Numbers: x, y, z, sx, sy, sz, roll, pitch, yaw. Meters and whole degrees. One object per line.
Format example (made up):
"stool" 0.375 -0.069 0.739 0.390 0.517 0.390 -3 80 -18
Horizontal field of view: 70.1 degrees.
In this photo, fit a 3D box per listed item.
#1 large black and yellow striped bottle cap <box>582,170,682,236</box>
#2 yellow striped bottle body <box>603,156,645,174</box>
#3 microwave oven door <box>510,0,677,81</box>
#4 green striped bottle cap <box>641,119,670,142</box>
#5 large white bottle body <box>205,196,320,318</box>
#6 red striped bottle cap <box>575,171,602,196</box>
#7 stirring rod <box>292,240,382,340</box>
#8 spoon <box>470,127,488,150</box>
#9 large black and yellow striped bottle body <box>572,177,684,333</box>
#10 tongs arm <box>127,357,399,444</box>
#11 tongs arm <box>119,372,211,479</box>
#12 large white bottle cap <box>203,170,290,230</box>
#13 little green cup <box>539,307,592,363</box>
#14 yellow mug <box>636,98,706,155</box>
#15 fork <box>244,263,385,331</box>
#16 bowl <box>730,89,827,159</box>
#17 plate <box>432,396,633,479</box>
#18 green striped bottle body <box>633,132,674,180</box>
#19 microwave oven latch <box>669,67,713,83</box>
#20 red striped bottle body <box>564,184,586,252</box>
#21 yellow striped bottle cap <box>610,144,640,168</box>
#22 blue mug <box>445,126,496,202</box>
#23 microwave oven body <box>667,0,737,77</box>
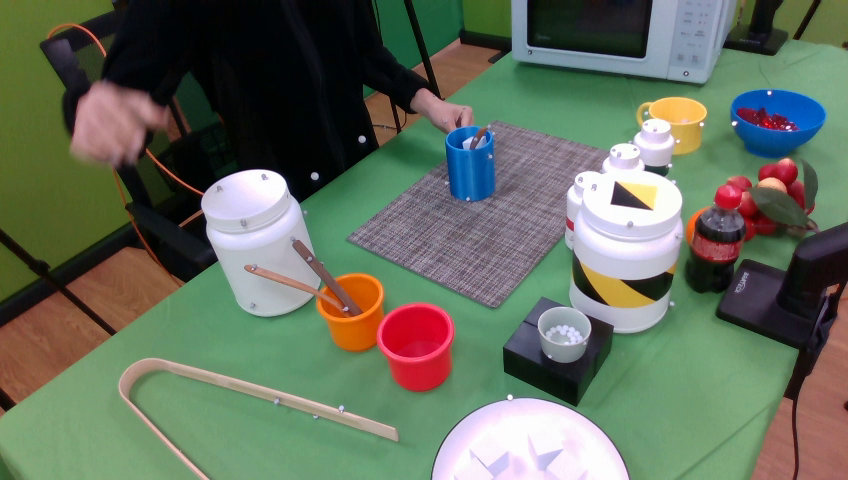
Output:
"large black and yellow striped bottle cap" 0.252 -0.048 0.735 0.115 0.019 0.114 -3 40 3
"yellow striped bottle body" 0.313 -0.089 0.956 0.063 0.121 0.062 -4 40 4
"microwave oven door" 0.354 -0.478 1.290 0.353 0.245 0.039 15 45 25
"green striped bottle cap" 0.371 -0.175 0.968 0.044 0.020 0.044 -5 42 5
"large white bottle body" -0.233 0.008 0.877 0.130 0.185 0.130 -5 40 4
"red striped bottle cap" 0.242 -0.081 0.876 0.044 0.018 0.044 -5 44 5
"stirring rod" -0.119 0.068 0.826 0.176 0.006 0.014 49 59 -4
"spoon" 0.080 -0.145 0.999 0.042 0.194 0.021 -7 73 -6
"large black and yellow striped bottle body" 0.262 0.017 0.788 0.131 0.185 0.130 -5 40 4
"tongs arm" -0.213 0.205 0.754 0.382 0.026 0.051 12 46 23
"tongs arm" -0.257 0.257 0.700 0.384 0.028 0.028 24 55 33
"large white bottle cap" -0.241 -0.057 0.822 0.115 0.018 0.114 -4 41 4
"little green cup" 0.168 0.114 0.721 0.061 0.039 0.061 -4 43 4
"yellow mug" 0.453 -0.217 1.128 0.100 0.064 0.129 -34 46 -27
"fork" -0.141 0.077 0.807 0.209 0.018 0.028 30 43 -24
"bowl" 0.615 -0.197 1.069 0.151 0.077 0.150 -5 40 4
"plate" 0.112 0.261 0.634 0.209 0.038 0.208 -5 40 4
"green striped bottle body" 0.376 -0.135 1.001 0.063 0.120 0.063 -5 40 5
"microwave oven latch" 0.556 -0.348 1.261 0.078 0.029 0.030 16 46 27
"red striped bottle body" 0.247 -0.041 0.910 0.063 0.120 0.062 -3 39 3
"yellow striped bottle cap" 0.307 -0.128 0.923 0.044 0.019 0.044 -5 39 5
"blue mug" 0.078 -0.142 1.062 0.082 0.106 0.115 -13 40 -6
"microwave oven body" 0.462 -0.552 1.369 0.439 0.261 0.326 15 45 26
